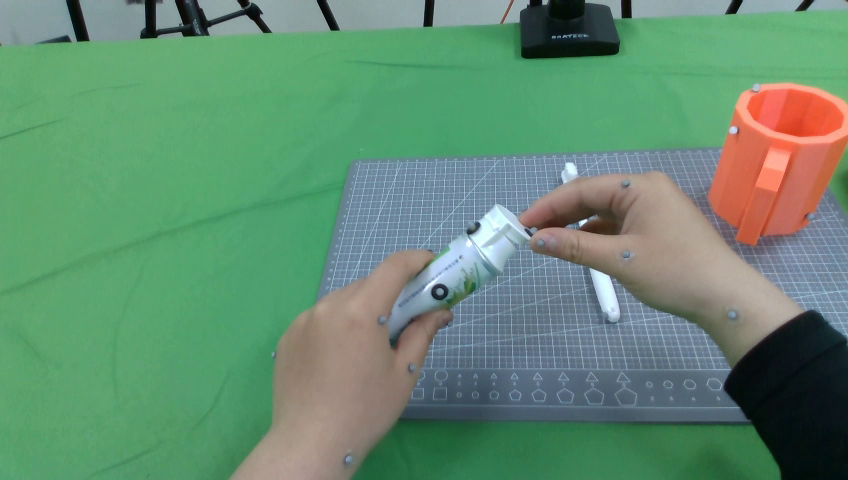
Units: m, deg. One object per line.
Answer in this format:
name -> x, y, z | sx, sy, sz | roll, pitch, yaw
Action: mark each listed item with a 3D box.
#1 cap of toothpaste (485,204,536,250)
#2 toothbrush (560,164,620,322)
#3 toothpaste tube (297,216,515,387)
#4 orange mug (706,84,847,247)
cap of toothpaste -> 0.053, -0.007, 0.370 | 0.011, 0.038, 0.037 | -49, 45, 16
toothbrush -> 0.141, -0.004, 0.519 | 0.014, 0.017, 0.180 | 3, 46, -6
toothpaste tube -> -0.008, 0.045, 0.385 | 0.165, 0.055, 0.034 | -41, 58, 11
orange mug -> 0.284, -0.056, 0.496 | 0.083, 0.102, 0.126 | 20, 46, 25
